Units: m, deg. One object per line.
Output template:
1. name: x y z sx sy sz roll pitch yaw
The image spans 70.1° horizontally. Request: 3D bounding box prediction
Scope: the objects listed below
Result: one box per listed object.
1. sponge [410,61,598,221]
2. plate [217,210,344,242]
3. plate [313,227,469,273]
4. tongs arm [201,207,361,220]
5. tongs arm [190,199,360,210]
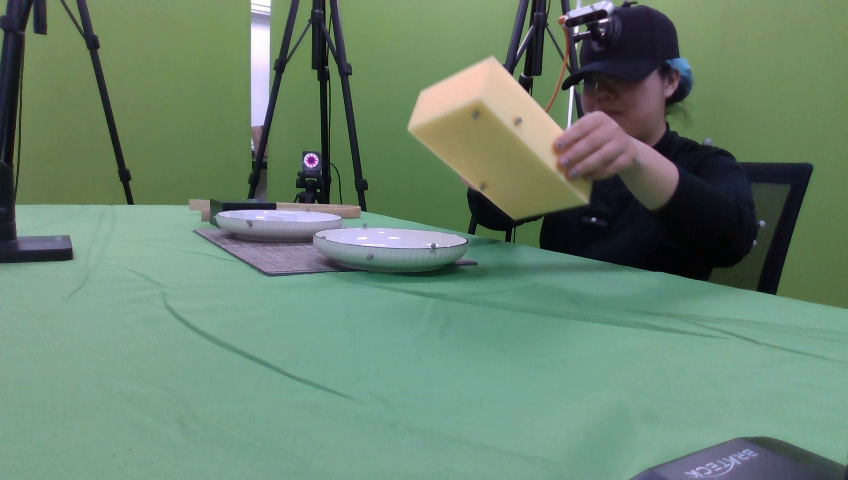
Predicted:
1. sponge: 0.100 -0.108 0.727 0.208 0.061 0.117 35 -31 -31
2. plate: -0.241 -0.024 1.026 0.208 0.039 0.207 3 7 0
3. plate: -0.044 0.012 0.807 0.209 0.038 0.209 2 7 0
4. tongs arm: -0.302 -0.060 1.350 0.390 0.028 0.028 -3 7 -38
5. tongs arm: -0.341 -0.075 1.419 0.387 0.026 0.050 0 8 -25
